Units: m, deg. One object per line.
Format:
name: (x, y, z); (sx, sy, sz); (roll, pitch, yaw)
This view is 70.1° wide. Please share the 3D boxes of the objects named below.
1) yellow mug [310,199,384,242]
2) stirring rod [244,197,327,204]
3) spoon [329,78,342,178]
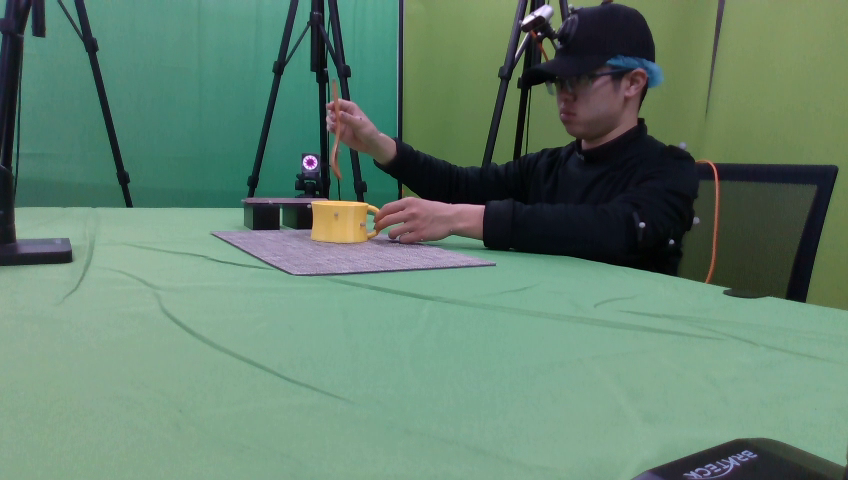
yellow mug: (-0.132, -0.035, 1.054); (0.131, 0.064, 0.099); (0, 8, -23)
stirring rod: (-0.270, -0.078, 1.201); (0.177, 0.006, 0.014); (-2, 44, -37)
spoon: (-0.170, -0.216, 1.168); (0.021, 0.193, 0.041); (0, 3, 4)
